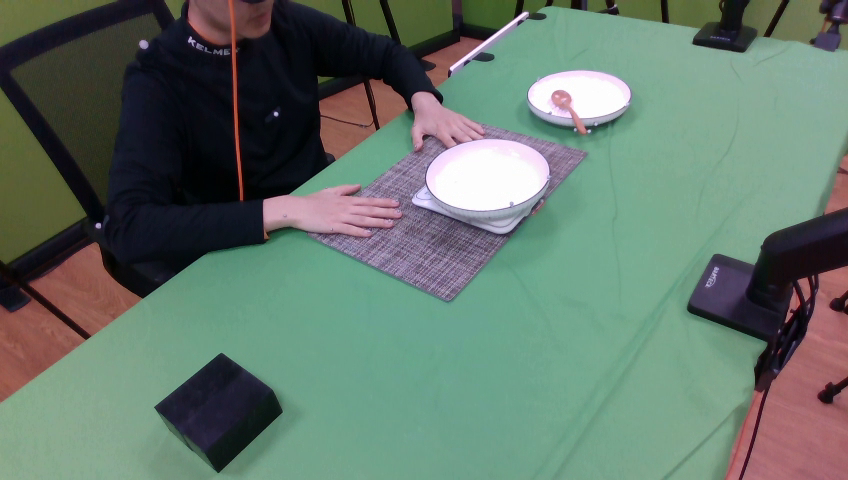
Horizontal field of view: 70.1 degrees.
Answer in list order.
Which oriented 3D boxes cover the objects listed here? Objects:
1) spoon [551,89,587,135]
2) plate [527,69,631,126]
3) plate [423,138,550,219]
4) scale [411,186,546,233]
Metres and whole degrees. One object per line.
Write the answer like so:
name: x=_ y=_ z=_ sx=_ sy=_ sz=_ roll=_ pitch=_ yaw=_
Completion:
spoon: x=0.286 y=-0.253 z=1.184 sx=0.041 sy=0.022 sz=0.192 roll=-7 pitch=33 yaw=1
plate: x=0.317 y=-0.289 z=1.246 sx=0.209 sy=0.038 sz=0.208 roll=-4 pitch=41 yaw=4
plate: x=0.104 y=-0.099 z=1.005 sx=0.207 sy=0.039 sz=0.206 roll=-4 pitch=41 yaw=4
scale: x=0.092 y=-0.083 z=1.039 sx=0.199 sy=0.032 sz=0.149 roll=22 pitch=48 yaw=30
